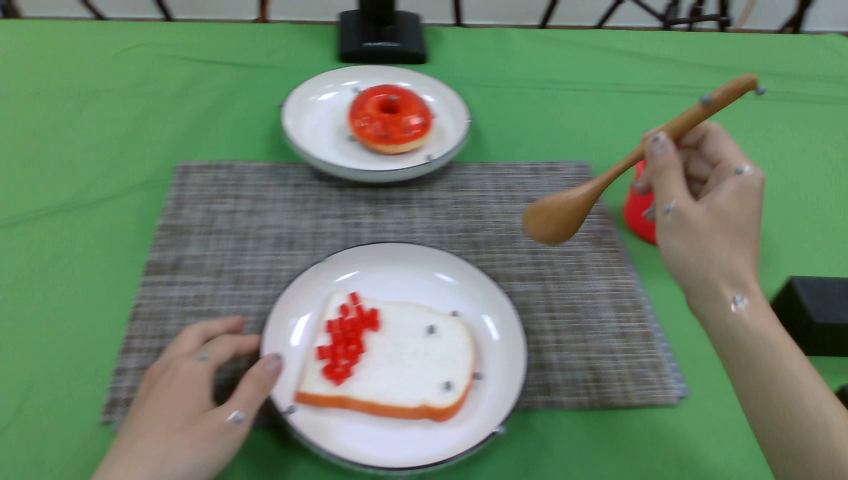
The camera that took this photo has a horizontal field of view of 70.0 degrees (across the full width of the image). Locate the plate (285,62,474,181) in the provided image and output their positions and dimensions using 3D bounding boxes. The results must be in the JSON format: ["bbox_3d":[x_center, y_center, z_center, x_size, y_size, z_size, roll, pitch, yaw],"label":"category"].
[{"bbox_3d":[-0.049,-0.131,0.682,0.208,0.039,0.205,3,46,-3],"label":"plate"}]

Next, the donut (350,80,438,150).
[{"bbox_3d":[-0.033,-0.139,0.674,0.099,0.048,0.098,3,48,-3],"label":"donut"}]

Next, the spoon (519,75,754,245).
[{"bbox_3d":[0.139,-0.052,0.427,0.042,0.194,0.021,43,36,-7],"label":"spoon"}]

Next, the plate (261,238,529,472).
[{"bbox_3d":[-0.022,0.085,0.485,0.209,0.038,0.207,3,48,-2],"label":"plate"}]

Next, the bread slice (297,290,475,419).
[{"bbox_3d":[-0.024,0.089,0.485,0.131,0.019,0.104,8,48,5],"label":"bread slice"}]
